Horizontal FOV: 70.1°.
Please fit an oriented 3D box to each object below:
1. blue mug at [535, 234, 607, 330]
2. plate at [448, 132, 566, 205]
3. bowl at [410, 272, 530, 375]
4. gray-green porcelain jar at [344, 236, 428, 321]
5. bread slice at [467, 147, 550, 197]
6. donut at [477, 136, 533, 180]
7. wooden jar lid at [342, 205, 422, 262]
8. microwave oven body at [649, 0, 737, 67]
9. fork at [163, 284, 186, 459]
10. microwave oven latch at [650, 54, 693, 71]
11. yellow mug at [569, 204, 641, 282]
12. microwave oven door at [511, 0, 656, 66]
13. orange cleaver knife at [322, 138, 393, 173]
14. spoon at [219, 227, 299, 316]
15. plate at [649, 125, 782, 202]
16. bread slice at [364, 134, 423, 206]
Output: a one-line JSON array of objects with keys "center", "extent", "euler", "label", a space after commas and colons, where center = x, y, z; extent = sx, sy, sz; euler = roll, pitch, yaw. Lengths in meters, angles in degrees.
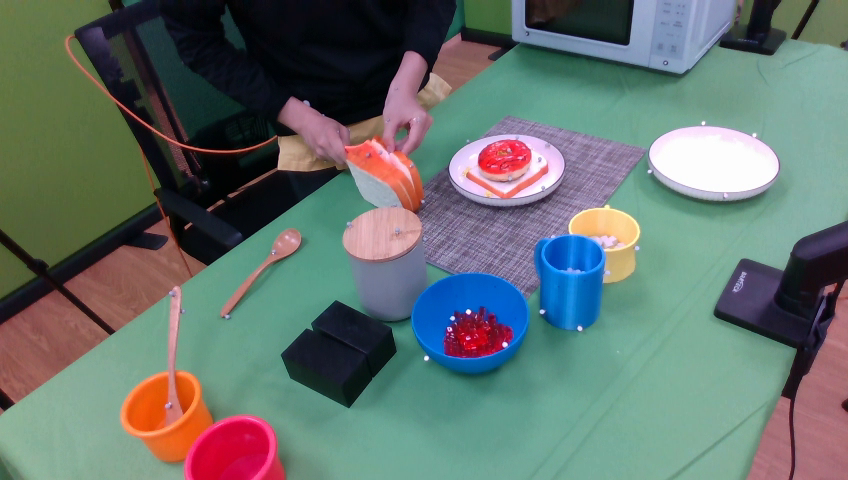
[{"center": [0.191, 0.048, 0.824], "extent": [0.082, 0.106, 0.115], "euler": [-26, 44, -20], "label": "blue mug"}, {"center": [0.146, -0.124, 1.075], "extent": [0.209, 0.038, 0.208], "euler": [-4, 41, 4], "label": "plate"}, {"center": [0.061, 0.120, 0.780], "extent": [0.151, 0.077, 0.150], "euler": [-4, 40, 4], "label": "bowl"}, {"center": [-0.049, 0.042, 0.849], "extent": [0.106, 0.127, 0.105], "euler": [-4, 41, 4], "label": "gray-green porcelain jar"}, {"center": [0.157, -0.128, 1.084], "extent": [0.132, 0.019, 0.104], "euler": [-35, 49, -24], "label": "bread slice"}, {"center": [0.140, -0.145, 1.058], "extent": [0.099, 0.048, 0.098], "euler": [-7, 41, 6], "label": "donut"}, {"center": [-0.055, -0.005, 0.808], "extent": [0.108, 0.021, 0.108], "euler": [-6, 40, 6], "label": "wooden jar lid"}, {"center": [0.475, -0.602, 1.411], "extent": [0.438, 0.261, 0.327], "euler": [23, 50, 32], "label": "microwave oven body"}, {"center": [-0.302, 0.157, 0.733], "extent": [0.028, 0.019, 0.207], "euler": [-3, 84, 15], "label": "fork"}, {"center": [0.531, -0.386, 1.301], "extent": [0.078, 0.029, 0.030], "euler": [26, 51, 33], "label": "microwave oven latch"}, {"center": [0.268, -0.005, 0.904], "extent": [0.099, 0.064, 0.130], "euler": [7, 41, 15], "label": "yellow mug"}, {"center": [0.350, -0.539, 1.349], "extent": [0.353, 0.245, 0.039], "euler": [24, 50, 31], "label": "microwave oven door"}, {"center": [-0.121, -0.150, 1.076], "extent": [0.012, 0.077, 0.209], "euler": [-45, 30, -19], "label": "orange cleaver knife"}, {"center": [-0.261, 0.046, 0.954], "extent": [0.041, 0.021, 0.194], "euler": [27, 48, 10], "label": "spoon"}, {"center": [0.493, -0.127, 1.036], "extent": [0.207, 0.039, 0.206], "euler": [-4, 41, 4], "label": "plate"}, {"center": [-0.053, -0.112, 1.048], "extent": [0.018, 0.107, 0.133], "euler": [-37, 52, -27], "label": "bread slice"}]
